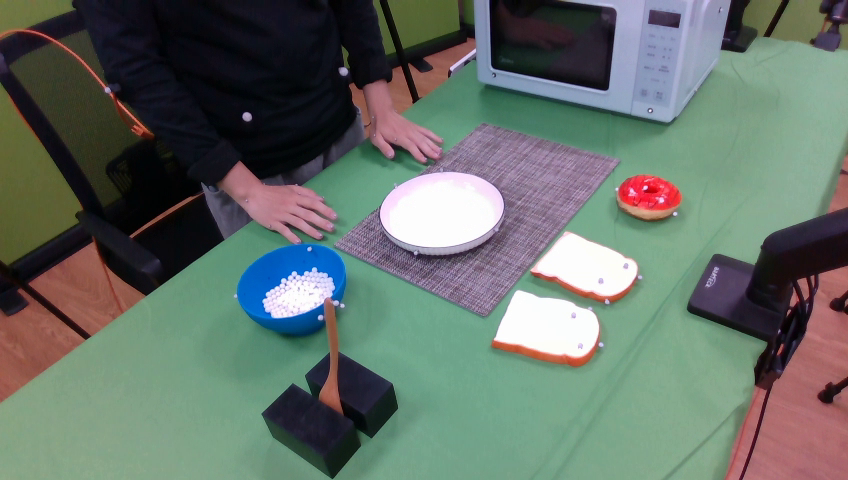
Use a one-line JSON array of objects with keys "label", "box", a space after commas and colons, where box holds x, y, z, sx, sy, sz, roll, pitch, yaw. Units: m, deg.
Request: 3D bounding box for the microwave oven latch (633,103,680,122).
[{"label": "microwave oven latch", "box": [0.443, -0.249, 1.157, 0.078, 0.029, 0.030, 21, 48, 30]}]

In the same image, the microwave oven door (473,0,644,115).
[{"label": "microwave oven door", "box": [0.257, -0.396, 1.199, 0.353, 0.245, 0.039, 21, 48, 29]}]

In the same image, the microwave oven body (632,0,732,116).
[{"label": "microwave oven body", "box": [0.377, -0.462, 1.267, 0.438, 0.261, 0.327, 21, 48, 30]}]

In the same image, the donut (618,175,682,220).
[{"label": "donut", "box": [0.366, -0.070, 0.981, 0.099, 0.048, 0.098, -3, 39, 3]}]

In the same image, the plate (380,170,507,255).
[{"label": "plate", "box": [0.033, -0.042, 0.995, 0.207, 0.039, 0.206, -4, 40, 4]}]

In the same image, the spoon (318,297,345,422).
[{"label": "spoon", "box": [-0.106, 0.139, 0.688, 0.041, 0.194, 0.022, 27, 37, 31]}]

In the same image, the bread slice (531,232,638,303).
[{"label": "bread slice", "box": [0.242, 0.042, 0.888, 0.133, 0.018, 0.107, 22, 49, 31]}]

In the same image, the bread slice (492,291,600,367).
[{"label": "bread slice", "box": [0.169, 0.118, 0.811, 0.131, 0.019, 0.105, 11, 44, 21]}]

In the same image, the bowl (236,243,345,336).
[{"label": "bowl", "box": [-0.180, 0.082, 0.855, 0.151, 0.077, 0.150, -4, 41, 4]}]
